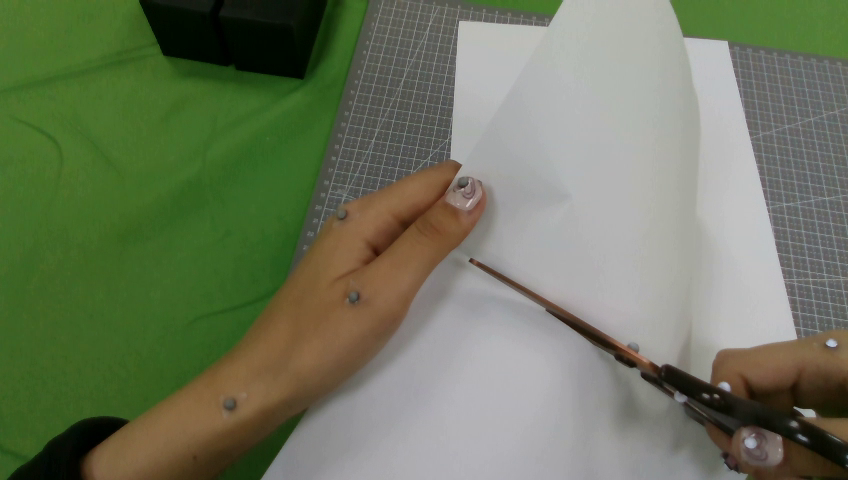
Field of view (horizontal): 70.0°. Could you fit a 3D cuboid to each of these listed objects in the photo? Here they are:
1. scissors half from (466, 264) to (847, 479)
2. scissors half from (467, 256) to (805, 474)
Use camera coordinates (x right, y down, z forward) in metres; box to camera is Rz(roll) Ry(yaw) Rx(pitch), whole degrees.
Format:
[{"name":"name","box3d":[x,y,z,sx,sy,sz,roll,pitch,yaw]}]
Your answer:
[{"name":"scissors half","box3d":[0.090,0.049,0.233,0.174,0.040,0.013,28,80,24]},{"name":"scissors half","box3d":[0.091,0.052,0.256,0.176,0.040,0.013,32,85,-11]}]
